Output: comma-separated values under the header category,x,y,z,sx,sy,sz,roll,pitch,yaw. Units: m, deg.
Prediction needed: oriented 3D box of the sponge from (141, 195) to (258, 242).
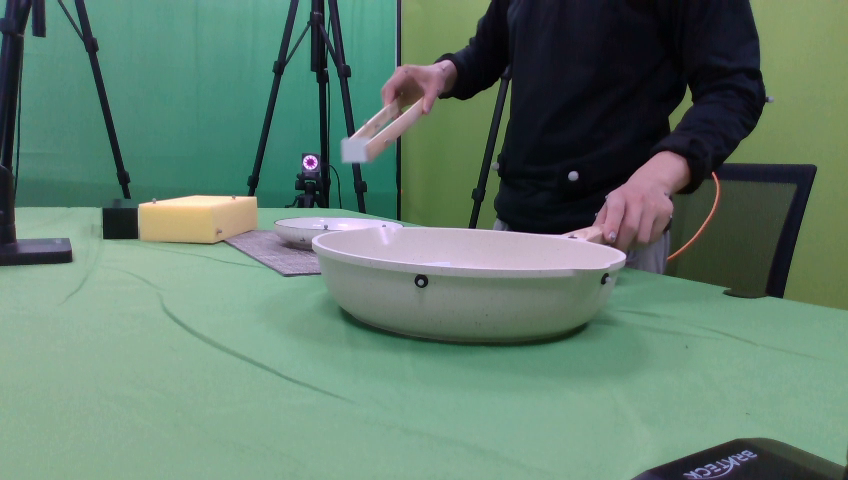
category,x,y,z,sx,sy,sz,roll,pitch,yaw
sponge,-0.380,-0.040,1.047,0.118,0.061,0.207,1,8,3

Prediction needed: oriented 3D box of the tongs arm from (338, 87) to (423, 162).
category,x,y,z,sx,sy,sz,roll,pitch,yaw
tongs arm,-0.058,-0.198,0.993,0.050,0.026,0.385,-5,23,13

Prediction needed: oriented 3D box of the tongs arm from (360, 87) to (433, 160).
category,x,y,z,sx,sy,sz,roll,pitch,yaw
tongs arm,-0.037,-0.199,0.986,0.028,0.028,0.388,-7,23,19

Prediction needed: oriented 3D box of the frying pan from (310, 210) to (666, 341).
category,x,y,z,sx,sy,sz,roll,pitch,yaw
frying pan,0.120,0.011,0.643,0.490,0.102,0.305,-13,16,-36

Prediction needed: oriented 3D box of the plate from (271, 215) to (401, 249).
category,x,y,z,sx,sy,sz,roll,pitch,yaw
plate,-0.141,-0.012,0.978,0.208,0.039,0.207,3,7,0
